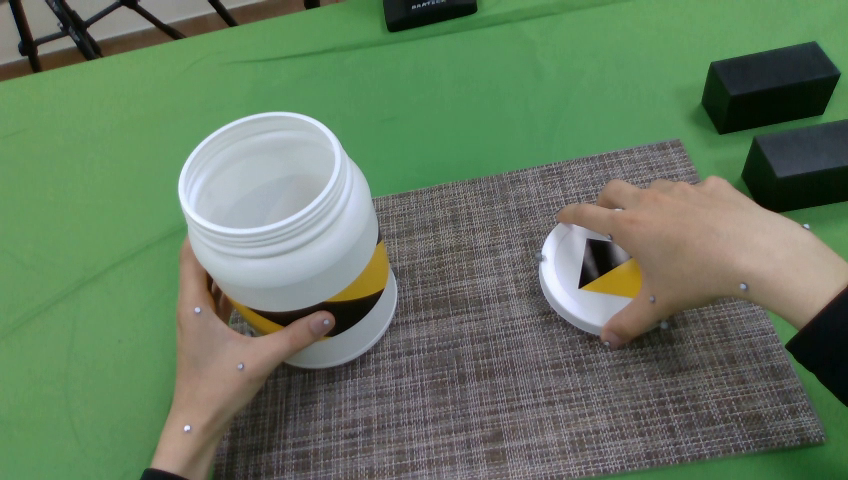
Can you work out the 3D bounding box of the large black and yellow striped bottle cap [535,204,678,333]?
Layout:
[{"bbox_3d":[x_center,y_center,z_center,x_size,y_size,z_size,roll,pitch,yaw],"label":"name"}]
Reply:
[{"bbox_3d":[0.150,0.021,0.502,0.115,0.019,0.114,-2,60,4],"label":"large black and yellow striped bottle cap"}]

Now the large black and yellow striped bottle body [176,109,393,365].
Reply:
[{"bbox_3d":[-0.100,0.003,0.469,0.131,0.186,0.129,-3,55,5],"label":"large black and yellow striped bottle body"}]
